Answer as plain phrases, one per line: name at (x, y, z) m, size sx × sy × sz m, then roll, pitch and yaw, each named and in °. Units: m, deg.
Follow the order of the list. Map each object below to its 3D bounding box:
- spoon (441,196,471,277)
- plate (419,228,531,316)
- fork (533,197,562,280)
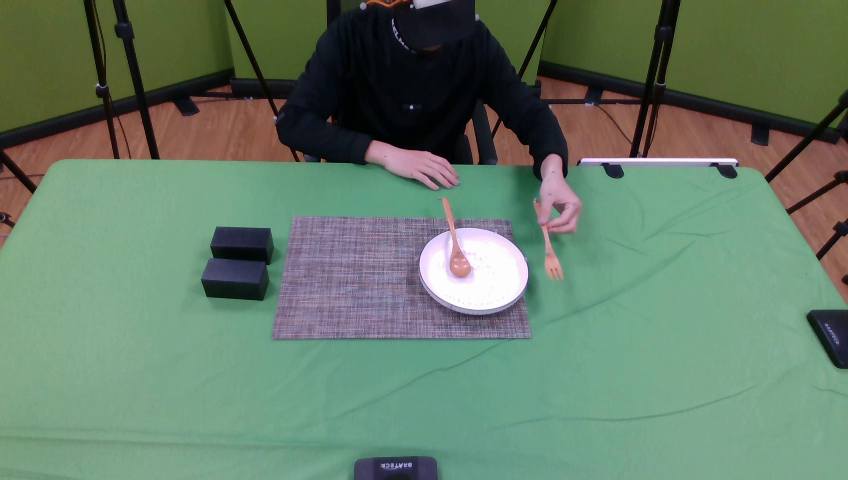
spoon at (0.056, -0.010, 1.176) m, size 0.041 × 0.022 × 0.192 m, roll -7°, pitch 60°, yaw -6°
plate at (0.093, 0.062, 1.131) m, size 0.208 × 0.039 × 0.206 m, roll 2°, pitch 46°, yaw -2°
fork at (0.229, -0.006, 1.143) m, size 0.028 × 0.019 × 0.206 m, roll -10°, pitch 52°, yaw 6°
